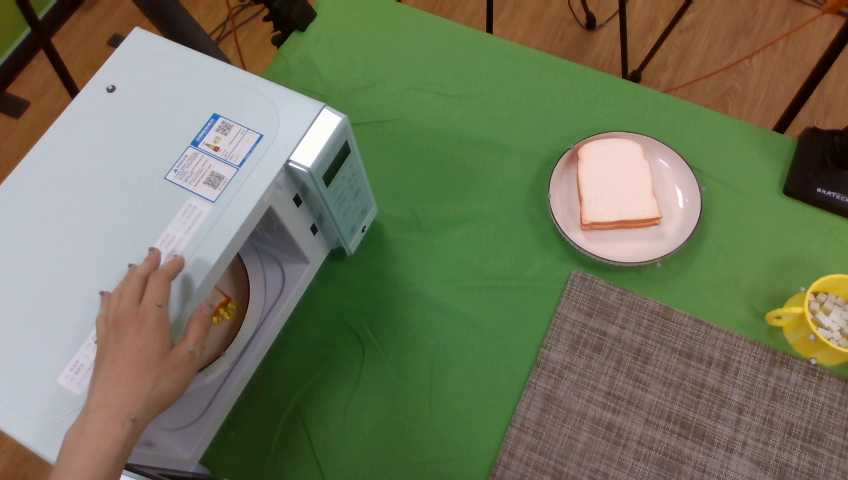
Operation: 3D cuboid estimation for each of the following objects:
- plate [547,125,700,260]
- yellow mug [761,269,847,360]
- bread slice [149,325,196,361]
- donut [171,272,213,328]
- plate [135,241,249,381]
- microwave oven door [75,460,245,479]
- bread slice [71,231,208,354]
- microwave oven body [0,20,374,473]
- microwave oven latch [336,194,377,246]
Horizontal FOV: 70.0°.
[{"bbox_3d":[0.277,-0.065,0.855,0.207,0.039,0.206,-1,67,4],"label":"plate"},{"bbox_3d":[0.493,0.093,0.758,0.131,0.064,0.099,3,67,7],"label":"yellow mug"},{"bbox_3d":[-0.324,0.094,0.780,0.104,0.019,0.131,39,55,17],"label":"bread slice"},{"bbox_3d":[-0.311,0.063,0.746,0.099,0.048,0.098,7,57,-11],"label":"donut"},{"bbox_3d":[-0.322,0.075,0.766,0.209,0.038,0.207,-1,70,2],"label":"plate"},{"bbox_3d":[-0.125,0.287,0.606,0.355,0.245,0.039,13,68,10],"label":"microwave oven door"},{"bbox_3d":[-0.328,0.053,0.717,0.106,0.018,0.134,35,65,8],"label":"bread slice"},{"bbox_3d":[-0.316,0.017,0.738,0.324,0.262,0.440,25,72,13],"label":"microwave oven body"},{"bbox_3d":[-0.096,-0.033,0.848,0.030,0.030,0.079,28,73,14],"label":"microwave oven latch"}]
